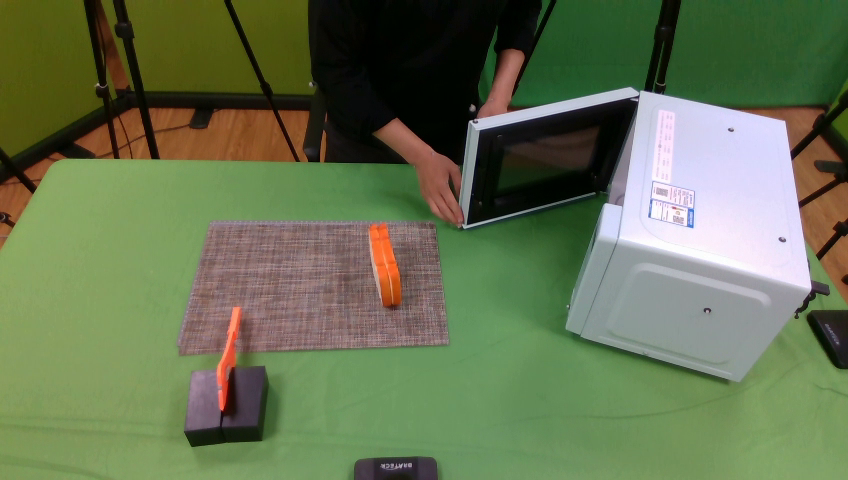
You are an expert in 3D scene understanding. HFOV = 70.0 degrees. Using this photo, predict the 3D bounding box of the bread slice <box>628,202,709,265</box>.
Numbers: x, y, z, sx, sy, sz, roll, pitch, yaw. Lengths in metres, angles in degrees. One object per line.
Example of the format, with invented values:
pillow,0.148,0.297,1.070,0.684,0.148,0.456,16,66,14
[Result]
bread slice,0.476,-0.020,1.170,0.134,0.018,0.106,-31,58,-18

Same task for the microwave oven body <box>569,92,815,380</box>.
microwave oven body,0.468,-0.021,1.082,0.325,0.261,0.440,15,46,11

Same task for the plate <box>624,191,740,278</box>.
plate,0.484,-0.007,1.150,0.208,0.039,0.206,0,50,0

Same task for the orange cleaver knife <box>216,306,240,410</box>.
orange cleaver knife,-0.307,0.180,0.957,0.012,0.077,0.210,-2,25,-8

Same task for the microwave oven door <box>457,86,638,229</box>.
microwave oven door,0.241,-0.162,1.194,0.356,0.245,0.039,-15,48,-18

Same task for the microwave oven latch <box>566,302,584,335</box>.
microwave oven latch,0.268,0.126,1.059,0.030,0.029,0.079,16,46,12
